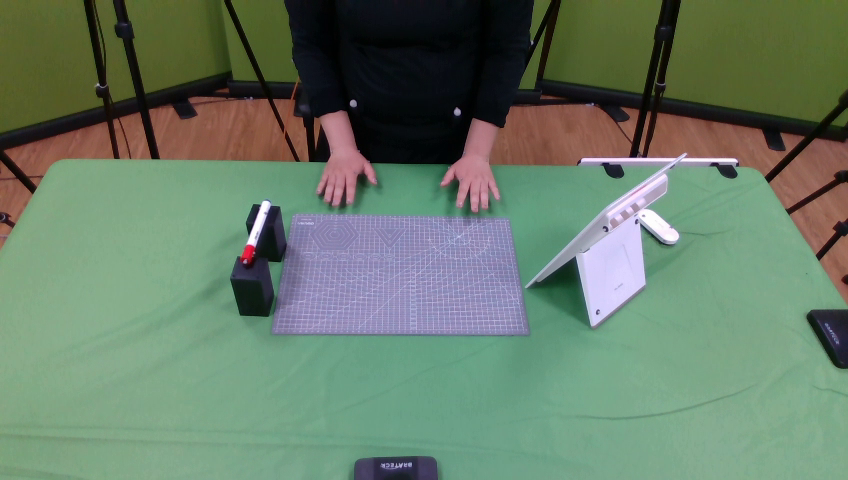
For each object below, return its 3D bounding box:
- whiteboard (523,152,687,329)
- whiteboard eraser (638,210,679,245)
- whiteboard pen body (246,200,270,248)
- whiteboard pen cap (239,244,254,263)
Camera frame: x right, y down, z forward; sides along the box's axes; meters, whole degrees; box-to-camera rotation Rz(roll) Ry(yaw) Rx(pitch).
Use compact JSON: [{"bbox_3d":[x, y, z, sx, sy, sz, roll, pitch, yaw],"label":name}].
[{"bbox_3d":[0.346,0.024,1.047,0.217,0.306,0.143,-30,74,-29],"label":"whiteboard"},{"bbox_3d":[0.485,-0.027,1.260,0.041,0.019,0.100,-21,50,-21],"label":"whiteboard eraser"},{"bbox_3d":[-0.293,-0.020,1.059,0.017,0.017,0.140,5,46,0],"label":"whiteboard pen body"},{"bbox_3d":[-0.298,0.022,1.016,0.017,0.017,0.032,6,45,2],"label":"whiteboard pen cap"}]
